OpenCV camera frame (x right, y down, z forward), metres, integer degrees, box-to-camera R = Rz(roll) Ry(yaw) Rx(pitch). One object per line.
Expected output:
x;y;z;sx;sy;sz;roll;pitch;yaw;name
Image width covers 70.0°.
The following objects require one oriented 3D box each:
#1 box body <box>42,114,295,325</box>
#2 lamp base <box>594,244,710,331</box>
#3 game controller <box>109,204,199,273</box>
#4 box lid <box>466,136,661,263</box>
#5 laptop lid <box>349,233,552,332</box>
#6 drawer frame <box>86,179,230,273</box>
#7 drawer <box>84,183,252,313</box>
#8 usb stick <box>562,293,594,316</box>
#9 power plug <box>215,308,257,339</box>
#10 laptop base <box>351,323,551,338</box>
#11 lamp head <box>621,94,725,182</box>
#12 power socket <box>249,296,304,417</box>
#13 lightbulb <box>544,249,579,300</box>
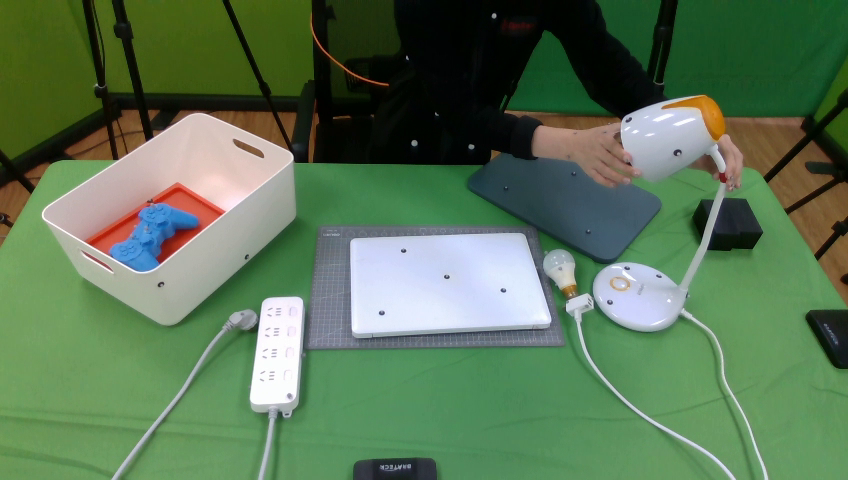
-0.437;-0.046;1.110;0.253;0.161;0.363;24;49;19;box body
0.412;0.052;1.070;0.179;0.181;0.160;18;48;9;lamp base
-0.467;-0.005;1.044;0.097;0.052;0.154;8;45;10;game controller
0.306;-0.102;1.327;0.370;0.015;0.263;32;52;25;box lid
0.040;0.070;1.119;0.357;0.013;0.240;-1;44;-5;laptop lid
-0.453;0.010;1.100;0.201;0.083;0.213;28;54;23;drawer frame
-0.457;0.008;1.099;0.194;0.073;0.211;29;49;21;drawer
0.274;0.118;1.087;0.021;0.059;0.027;38;45;-27;usb stick
-0.317;0.143;1.024;0.072;0.053;0.035;-33;57;-8;power plug
0.040;0.080;1.126;0.355;0.023;0.234;-2;43;-6;laptop base
0.367;-0.152;0.873;0.123;0.113;0.112;-18;29;43;lamp head
-0.239;0.182;0.996;0.072;0.033;0.225;-2;47;-5;power socket
0.263;0.067;1.136;0.059;0.060;0.107;-10;64;-14;lightbulb
